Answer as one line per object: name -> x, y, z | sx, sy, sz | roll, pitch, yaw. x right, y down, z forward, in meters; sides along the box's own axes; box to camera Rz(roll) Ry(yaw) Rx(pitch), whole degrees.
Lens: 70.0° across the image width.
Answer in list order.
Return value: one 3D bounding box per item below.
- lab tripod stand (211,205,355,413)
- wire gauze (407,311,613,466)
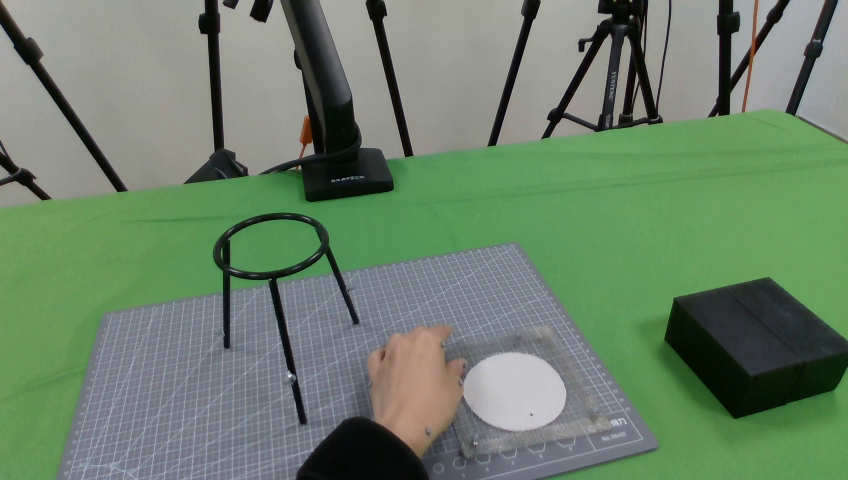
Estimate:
lab tripod stand -> -0.119, 0.050, 0.515 | 0.148, 0.132, 0.147 | 0, 35, 0
wire gauze -> 0.069, 0.112, 0.501 | 0.122, 0.011, 0.123 | -19, 44, -27
